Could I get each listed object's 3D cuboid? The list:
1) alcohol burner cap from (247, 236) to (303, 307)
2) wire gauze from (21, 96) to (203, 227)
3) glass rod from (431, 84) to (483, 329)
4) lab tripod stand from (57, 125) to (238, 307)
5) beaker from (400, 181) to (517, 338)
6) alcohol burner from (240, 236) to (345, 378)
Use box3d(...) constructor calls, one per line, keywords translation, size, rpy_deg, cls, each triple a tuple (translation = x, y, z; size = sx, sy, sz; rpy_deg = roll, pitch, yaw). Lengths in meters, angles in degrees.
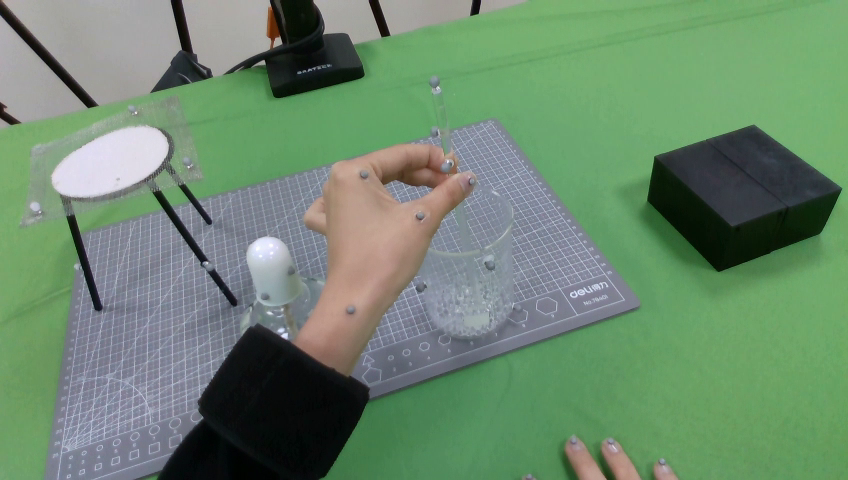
box3d(translation=(-0.103, 0.020, 0.410), size=(0.034, 0.048, 0.033), rpy_deg=(-4, 41, 4), cls="alcohol burner cap")
box3d(translation=(-0.237, -0.062, 0.456), size=(0.125, 0.011, 0.120), rpy_deg=(-21, 45, -11), cls="wire gauze")
box3d(translation=(0.024, -0.010, 0.406), size=(0.008, 0.202, 0.008), rpy_deg=(-8, 38, 7), cls="glass rod")
box3d(translation=(-0.229, -0.014, 0.503), size=(0.148, 0.133, 0.147), rpy_deg=(-5, 46, 5), cls="lab tripod stand")
box3d(translation=(0.029, 0.019, 0.451), size=(0.084, 0.101, 0.073), rpy_deg=(-20, 44, -10), cls="beaker")
box3d(translation=(-0.099, 0.045, 0.436), size=(0.078, 0.120, 0.077), rpy_deg=(-6, 42, 5), cls="alcohol burner")
